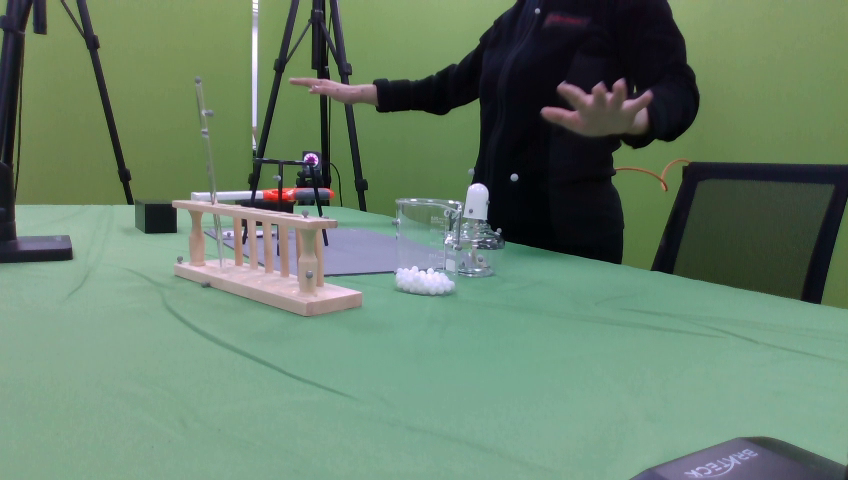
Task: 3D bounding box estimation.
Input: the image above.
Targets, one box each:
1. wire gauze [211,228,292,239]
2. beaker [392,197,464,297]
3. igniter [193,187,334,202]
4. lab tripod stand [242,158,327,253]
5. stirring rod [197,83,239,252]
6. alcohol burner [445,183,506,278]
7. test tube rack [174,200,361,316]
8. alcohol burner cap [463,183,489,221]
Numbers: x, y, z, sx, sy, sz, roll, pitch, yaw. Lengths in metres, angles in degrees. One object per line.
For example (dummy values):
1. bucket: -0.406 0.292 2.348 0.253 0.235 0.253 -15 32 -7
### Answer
1. wire gauze: -0.298 -0.013 1.039 0.122 0.011 0.124 -2 6 -27
2. beaker: 0.005 0.007 0.647 0.074 0.100 0.083 -5 11 -44
3. igniter: -0.316 -0.090 1.213 0.278 0.025 0.057 -5 13 -31
4. lab tripod stand: -0.207 -0.054 0.895 0.148 0.131 0.148 2 5 0
5. stirring rod: -0.212 -0.072 0.625 0.006 0.176 0.014 -14 12 -22
6. alcohol burner: 0.066 -0.013 0.771 0.078 0.119 0.078 0 7 0
7. test tube rack: -0.169 0.009 0.622 0.241 0.085 0.067 9 9 41
8. alcohol burner cap: 0.067 -0.049 0.765 0.034 0.048 0.034 5 5 0
